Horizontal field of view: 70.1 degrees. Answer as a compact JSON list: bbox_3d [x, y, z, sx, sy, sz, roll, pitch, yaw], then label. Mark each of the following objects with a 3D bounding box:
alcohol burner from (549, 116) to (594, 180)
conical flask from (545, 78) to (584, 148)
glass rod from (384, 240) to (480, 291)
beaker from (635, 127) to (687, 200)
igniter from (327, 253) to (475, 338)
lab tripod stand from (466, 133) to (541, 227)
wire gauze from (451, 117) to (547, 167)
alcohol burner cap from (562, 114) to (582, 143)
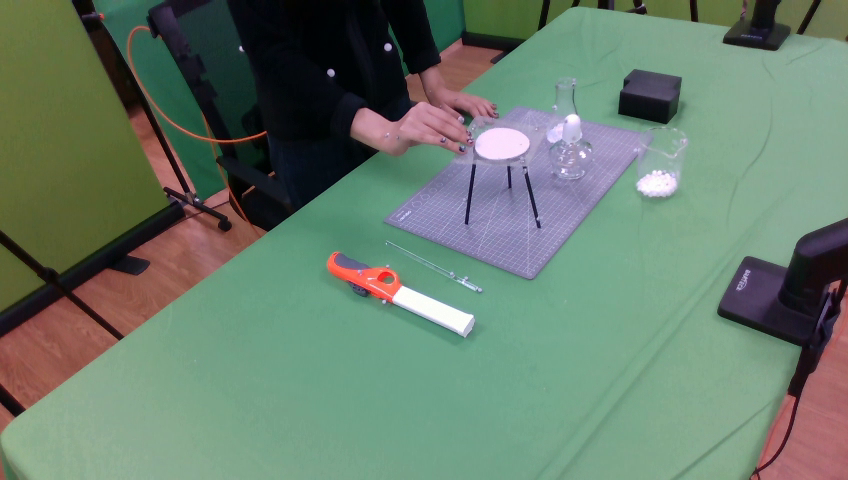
[{"bbox_3d":[0.258,-0.166,1.055,0.078,0.120,0.077,-6,42,6],"label":"alcohol burner"},{"bbox_3d":[0.264,-0.241,1.135,0.075,0.122,0.075,-6,40,5],"label":"conical flask"},{"bbox_3d":[0.009,0.037,0.949,0.198,0.008,0.008,26,52,34],"label":"glass rod"},{"bbox_3d":[0.388,-0.122,0.994,0.074,0.101,0.083,-8,40,2],"label":"beaker"},{"bbox_3d":[-0.045,0.077,0.898,0.274,0.025,0.057,22,60,32],"label":"igniter"},{"bbox_3d":[0.129,-0.099,0.985,0.148,0.132,0.147,-6,38,6],"label":"lab tripod stand"},{"bbox_3d":[0.119,-0.152,0.942,0.121,0.011,0.125,11,45,19],"label":"wire gauze"},{"bbox_3d":[0.254,-0.192,1.030,0.034,0.048,0.033,-4,50,6],"label":"alcohol burner cap"}]
